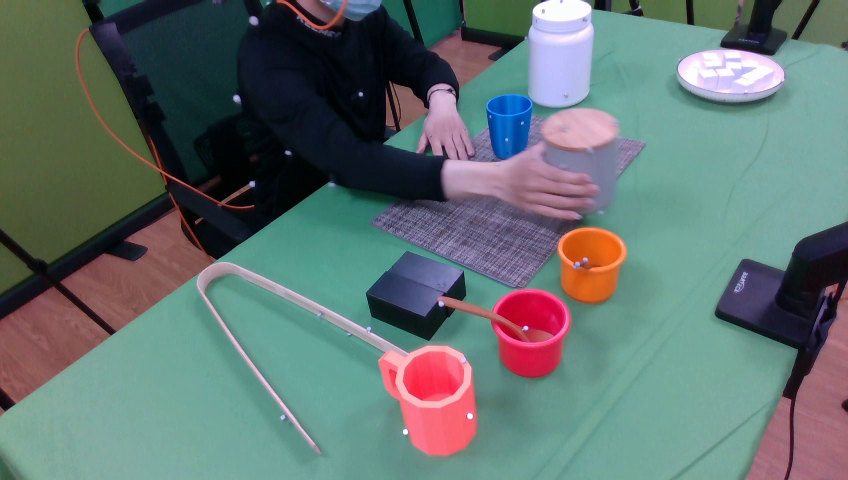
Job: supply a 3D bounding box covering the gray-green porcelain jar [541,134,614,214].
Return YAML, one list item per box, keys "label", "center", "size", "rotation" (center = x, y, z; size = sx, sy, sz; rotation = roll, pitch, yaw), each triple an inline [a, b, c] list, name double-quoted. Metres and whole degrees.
- label: "gray-green porcelain jar"
  center: [0.236, -0.112, 0.930]
  size: [0.106, 0.127, 0.105]
  rotation: [-7, 39, 6]

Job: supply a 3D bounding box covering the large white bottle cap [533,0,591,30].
- label: "large white bottle cap"
  center: [0.274, -0.450, 1.204]
  size: [0.115, 0.018, 0.114]
  rotation: [-4, 41, 4]

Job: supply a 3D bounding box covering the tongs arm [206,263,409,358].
- label: "tongs arm"
  center: [-0.179, 0.106, 0.870]
  size: [0.381, 0.026, 0.051]
  rotation: [23, 53, 32]

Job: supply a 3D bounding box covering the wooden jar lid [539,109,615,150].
- label: "wooden jar lid"
  center: [0.225, -0.159, 0.891]
  size: [0.108, 0.021, 0.108]
  rotation: [-5, 41, 5]

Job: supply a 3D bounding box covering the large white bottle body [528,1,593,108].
- label: "large white bottle body"
  center: [0.283, -0.386, 1.259]
  size: [0.130, 0.185, 0.130]
  rotation: [-5, 41, 5]

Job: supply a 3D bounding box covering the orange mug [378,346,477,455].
- label: "orange mug"
  center: [0.002, 0.179, 0.708]
  size: [0.125, 0.101, 0.083]
  rotation: [25, 50, 27]

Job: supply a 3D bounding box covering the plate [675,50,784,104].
- label: "plate"
  center: [0.632, -0.336, 1.262]
  size: [0.207, 0.039, 0.206]
  rotation: [-4, 41, 4]

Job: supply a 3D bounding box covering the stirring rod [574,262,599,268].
- label: "stirring rod"
  center: [0.221, 0.033, 0.816]
  size: [0.014, 0.006, 0.177]
  rotation: [10, 2, 22]

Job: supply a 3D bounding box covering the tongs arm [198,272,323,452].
- label: "tongs arm"
  center: [-0.236, 0.152, 0.829]
  size: [0.028, 0.028, 0.384]
  rotation: [-36, 47, -19]

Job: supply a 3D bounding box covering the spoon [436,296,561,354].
- label: "spoon"
  center: [0.095, 0.102, 0.750]
  size: [0.195, 0.021, 0.041]
  rotation: [28, 30, -28]

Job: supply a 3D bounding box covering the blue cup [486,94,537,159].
- label: "blue cup"
  center: [0.160, -0.208, 1.129]
  size: [0.092, 0.100, 0.092]
  rotation: [-4, 39, 4]
